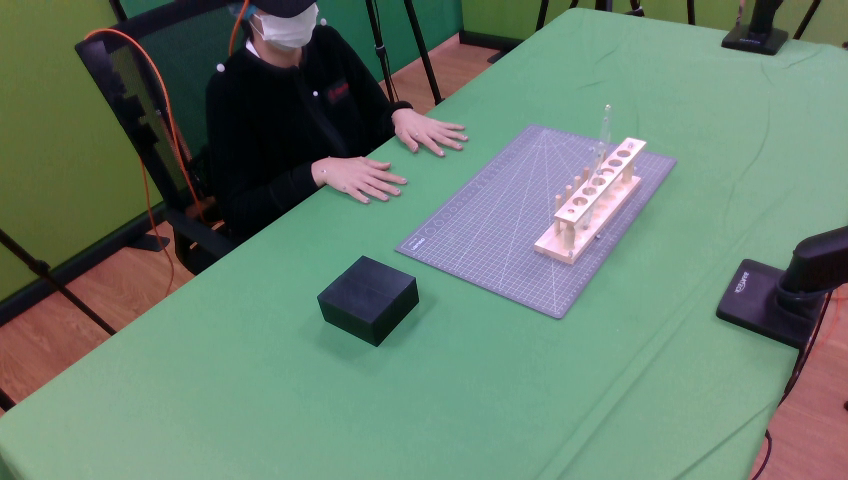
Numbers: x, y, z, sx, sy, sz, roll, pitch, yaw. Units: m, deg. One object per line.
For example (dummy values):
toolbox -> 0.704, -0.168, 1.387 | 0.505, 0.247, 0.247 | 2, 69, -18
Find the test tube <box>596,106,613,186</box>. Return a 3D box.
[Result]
test tube -> 0.294, -0.150, 0.984 | 0.017, 0.151, 0.017 | -5, 40, 4

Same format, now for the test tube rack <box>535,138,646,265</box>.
test tube rack -> 0.268, -0.071, 0.964 | 0.066, 0.085, 0.243 | 23, 49, 32

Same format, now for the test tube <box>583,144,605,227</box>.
test tube -> 0.251, -0.077, 0.896 | 0.017, 0.151, 0.017 | -3, 43, 3
